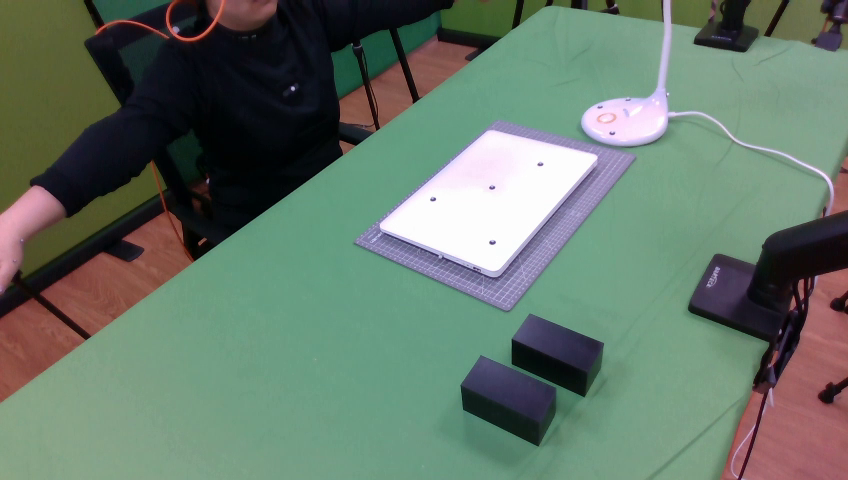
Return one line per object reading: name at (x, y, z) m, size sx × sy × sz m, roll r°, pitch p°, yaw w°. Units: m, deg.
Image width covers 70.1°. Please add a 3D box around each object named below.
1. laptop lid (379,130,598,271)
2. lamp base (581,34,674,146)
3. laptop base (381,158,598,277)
laptop lid at (0.117, -0.087, 1.037) m, size 0.240 × 0.013 × 0.358 m, roll 22°, pitch 48°, yaw 33°
lamp base at (0.392, -0.291, 1.129) m, size 0.180 × 0.181 × 0.159 m, roll -11°, pitch 41°, yaw -8°
laptop base at (0.120, -0.077, 1.043) m, size 0.233 × 0.023 × 0.355 m, roll 20°, pitch 47°, yaw 32°
